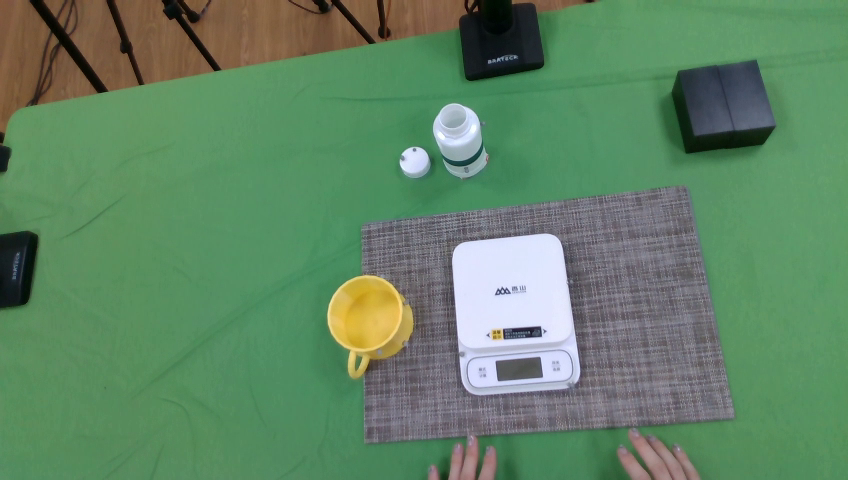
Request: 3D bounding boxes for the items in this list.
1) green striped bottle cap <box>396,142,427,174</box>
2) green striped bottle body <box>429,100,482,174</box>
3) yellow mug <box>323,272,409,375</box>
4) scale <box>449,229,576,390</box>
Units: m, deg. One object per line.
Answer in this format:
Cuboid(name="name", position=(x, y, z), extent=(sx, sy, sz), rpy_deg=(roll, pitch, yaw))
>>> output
Cuboid(name="green striped bottle cap", position=(-0.019, -0.120, 0.889), extent=(0.044, 0.020, 0.044), rpy_deg=(-2, 77, 9))
Cuboid(name="green striped bottle body", position=(0.043, -0.144, 0.829), extent=(0.063, 0.120, 0.063), rpy_deg=(-3, 70, 10))
Cuboid(name="yellow mug", position=(-0.079, 0.112, 0.790), extent=(0.099, 0.064, 0.130), rpy_deg=(11, 75, 15))
Cuboid(name="scale", position=(0.111, 0.087, 0.781), extent=(0.148, 0.032, 0.199), rpy_deg=(-7, 71, 9))
